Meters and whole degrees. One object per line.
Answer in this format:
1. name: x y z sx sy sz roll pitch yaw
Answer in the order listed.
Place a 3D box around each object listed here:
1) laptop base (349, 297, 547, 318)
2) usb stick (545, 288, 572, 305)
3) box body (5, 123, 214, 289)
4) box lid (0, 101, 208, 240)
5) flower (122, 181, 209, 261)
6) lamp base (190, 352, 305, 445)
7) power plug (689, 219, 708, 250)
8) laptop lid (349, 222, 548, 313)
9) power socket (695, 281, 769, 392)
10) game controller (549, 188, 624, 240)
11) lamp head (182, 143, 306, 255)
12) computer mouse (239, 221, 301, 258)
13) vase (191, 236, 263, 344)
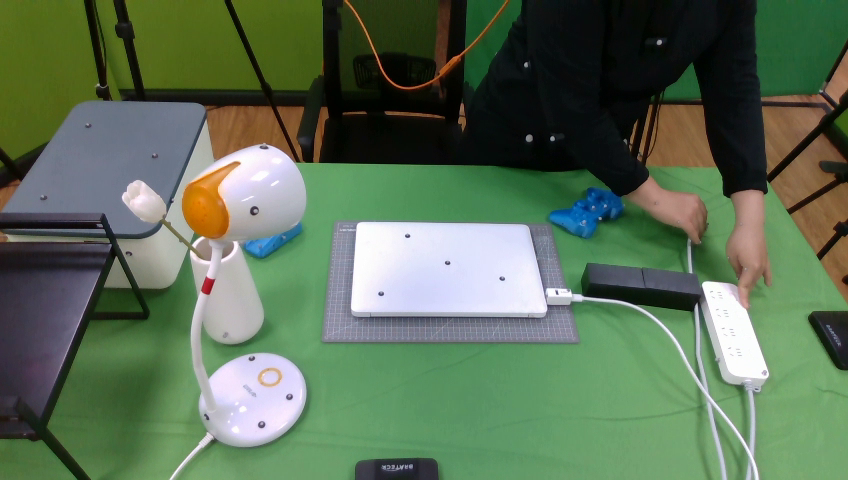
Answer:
1. laptop base: 0.041 0.056 1.149 0.355 0.023 0.234 1 43 -4
2. usb stick: 0.237 0.103 1.101 0.059 0.027 0.021 0 44 -1
3. box body: -0.563 -0.087 1.139 0.254 0.161 0.361 2 46 -3
4. box lid: -0.558 -0.137 1.084 0.263 0.015 0.369 2 46 -2
5. flower: -0.328 0.030 0.905 0.038 0.364 0.044 -22 58 -1
6. lamp base: -0.267 0.197 0.876 0.160 0.181 0.179 26 52 19
7. power plug: 0.554 -0.009 1.244 0.035 0.053 0.072 28 84 35
8. laptop lid: 0.042 0.046 1.142 0.357 0.013 0.240 2 44 -3
9. power socket: 0.542 0.161 1.076 0.072 0.033 0.225 5 46 1
10. game controller: 0.346 -0.064 1.271 0.155 0.052 0.096 -30 57 -29
11. lamp head: -0.215 -0.044 0.697 0.112 0.113 0.123 23 31 17
12. computer mouse: -0.299 -0.016 1.178 0.062 0.041 0.117 35 58 23
13. vase: -0.317 0.081 0.971 0.098 0.201 0.097 3 47 -3
